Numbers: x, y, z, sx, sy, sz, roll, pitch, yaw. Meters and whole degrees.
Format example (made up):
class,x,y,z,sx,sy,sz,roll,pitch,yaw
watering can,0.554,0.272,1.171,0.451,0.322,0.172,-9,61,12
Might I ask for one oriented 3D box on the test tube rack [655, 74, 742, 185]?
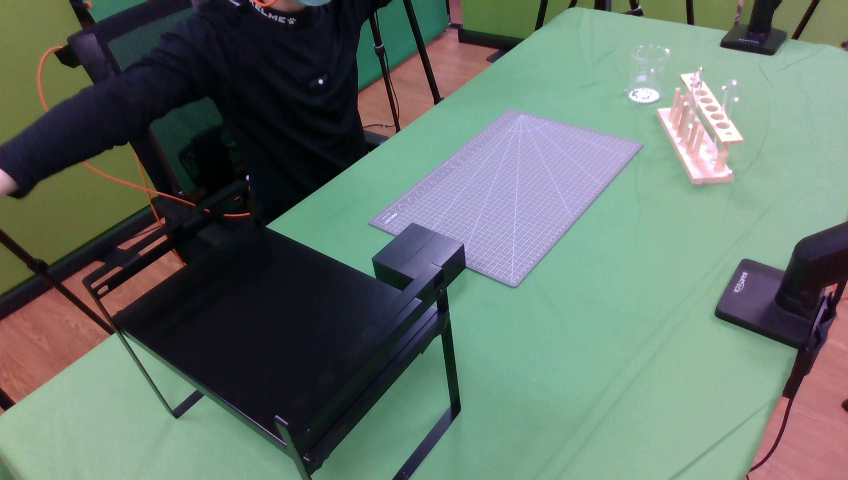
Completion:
class,x,y,z,sx,sy,sz,roll,pitch,yaw
test tube rack,0.488,-0.205,1.093,0.067,0.085,0.241,-3,41,5

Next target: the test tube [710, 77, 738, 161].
class,x,y,z,sx,sy,sz,roll,pitch,yaw
test tube,0.499,-0.198,1.008,0.017,0.151,0.017,-3,37,3

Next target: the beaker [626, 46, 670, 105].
class,x,y,z,sx,sy,sz,roll,pitch,yaw
beaker,0.457,-0.336,1.240,0.084,0.101,0.073,-12,41,-6

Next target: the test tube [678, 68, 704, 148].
class,x,y,z,sx,sy,sz,roll,pitch,yaw
test tube,0.465,-0.228,1.054,0.017,0.151,0.017,-3,41,3
